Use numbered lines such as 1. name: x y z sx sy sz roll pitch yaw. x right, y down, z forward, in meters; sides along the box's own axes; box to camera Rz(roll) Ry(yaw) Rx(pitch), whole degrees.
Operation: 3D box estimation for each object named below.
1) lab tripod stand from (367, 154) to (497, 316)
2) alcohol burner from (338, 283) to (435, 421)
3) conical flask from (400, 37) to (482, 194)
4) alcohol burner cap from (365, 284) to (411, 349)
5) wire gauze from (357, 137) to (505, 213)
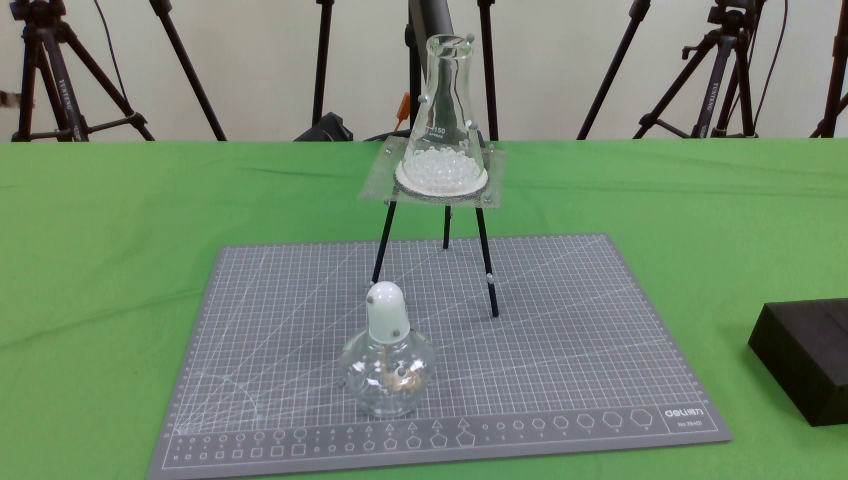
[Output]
1. lab tripod stand: 0.016 -0.005 0.593 0.148 0.132 0.147 3 34 -2
2. alcohol burner: -0.030 0.084 0.477 0.078 0.120 0.077 1 33 0
3. conical flask: 0.017 -0.107 0.519 0.075 0.123 0.074 2 35 -1
4. alcohol burner cap: -0.028 0.055 0.456 0.034 0.048 0.033 -4 38 3
5. wire gauze: 0.012 -0.060 0.556 0.121 0.011 0.124 6 37 6
